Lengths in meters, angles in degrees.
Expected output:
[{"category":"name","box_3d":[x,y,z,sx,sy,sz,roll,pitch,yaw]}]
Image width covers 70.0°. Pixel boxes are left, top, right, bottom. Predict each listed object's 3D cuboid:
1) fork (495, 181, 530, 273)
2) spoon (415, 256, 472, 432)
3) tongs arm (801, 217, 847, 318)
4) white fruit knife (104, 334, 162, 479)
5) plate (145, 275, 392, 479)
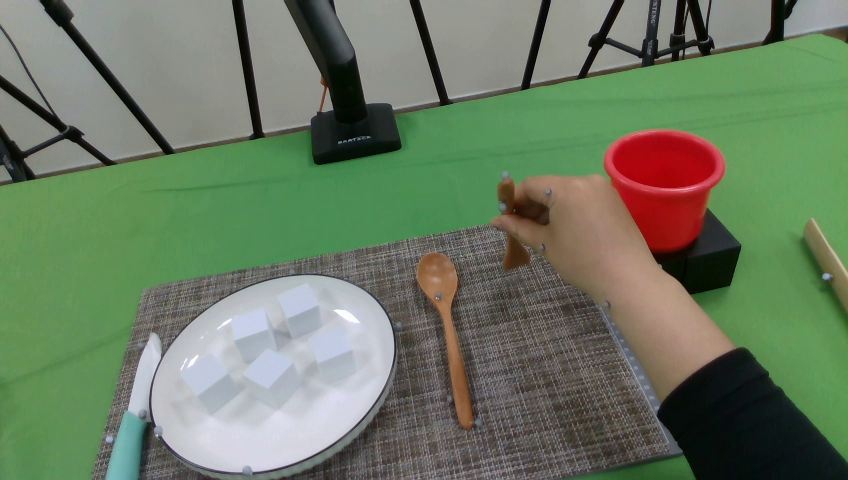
[{"category":"fork","box_3d":[0.072,-0.004,0.504,0.028,0.209,0.018,-16,66,5]},{"category":"spoon","box_3d":[0.020,0.084,0.546,0.042,0.022,0.191,5,38,-13]},{"category":"tongs arm","box_3d":[0.371,0.113,0.453,0.028,0.028,0.383,-1,41,4]},{"category":"white fruit knife","box_3d":[-0.246,0.155,0.516,0.027,0.016,0.205,11,33,-22]},{"category":"plate","box_3d":[-0.128,0.115,0.524,0.207,0.039,0.205,-4,41,4]}]
